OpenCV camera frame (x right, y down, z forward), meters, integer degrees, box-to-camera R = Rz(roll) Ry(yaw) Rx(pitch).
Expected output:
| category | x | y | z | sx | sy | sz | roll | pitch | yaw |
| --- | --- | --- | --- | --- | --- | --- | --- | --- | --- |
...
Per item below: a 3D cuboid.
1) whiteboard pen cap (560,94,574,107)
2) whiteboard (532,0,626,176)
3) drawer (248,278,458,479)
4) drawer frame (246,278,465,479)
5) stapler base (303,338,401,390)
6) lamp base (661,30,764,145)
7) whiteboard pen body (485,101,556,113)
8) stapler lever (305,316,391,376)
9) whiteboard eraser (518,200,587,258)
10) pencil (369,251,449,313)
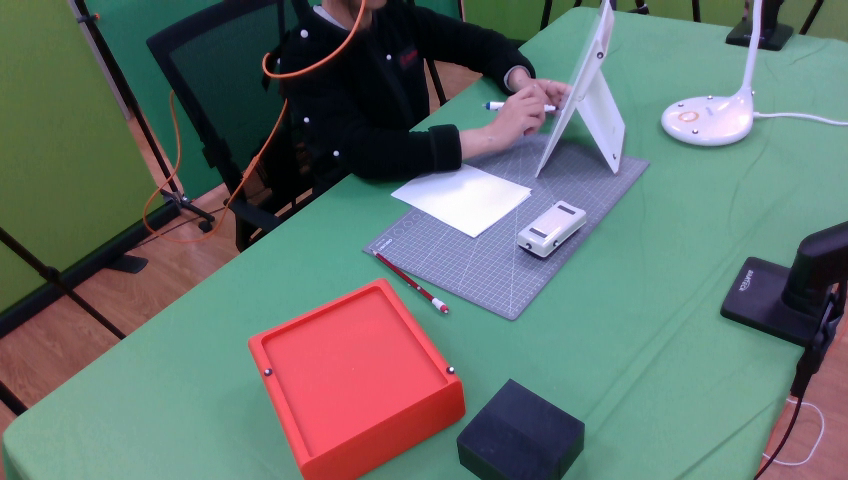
| category | x | y | z | sx | sy | sz | roll | pitch | yaw |
| --- | --- | --- | --- | --- | --- | --- | --- | --- | --- |
| whiteboard pen cap | 0.301 | -0.293 | 1.272 | 0.018 | 0.018 | 0.033 | 26 | 50 | 34 |
| whiteboard | 0.321 | -0.258 | 1.050 | 0.144 | 0.306 | 0.217 | 21 | 45 | 5 |
| drawer | -0.092 | 0.168 | 0.756 | 0.195 | 0.073 | 0.210 | -24 | 43 | -18 |
| drawer frame | -0.088 | 0.168 | 0.752 | 0.202 | 0.083 | 0.211 | -24 | 43 | -18 |
| stapler base | -0.096 | 0.159 | 0.813 | 0.131 | 0.024 | 0.041 | -17 | 43 | -17 |
| lamp base | 0.535 | -0.287 | 1.096 | 0.179 | 0.181 | 0.159 | -10 | 40 | -4 |
| whiteboard pen body | 0.187 | -0.253 | 1.153 | 0.141 | 0.017 | 0.017 | 4 | 41 | -3 |
| stapler lever | -0.099 | 0.136 | 0.790 | 0.118 | 0.040 | 0.026 | -23 | 44 | -12 |
| whiteboard eraser | 0.201 | -0.016 | 0.943 | 0.113 | 0.042 | 0.055 | -37 | 46 | -29 |
| pencil | -0.028 | 0.060 | 0.924 | 0.012 | 0.012 | 0.192 | -33 | 46 | -26 |
